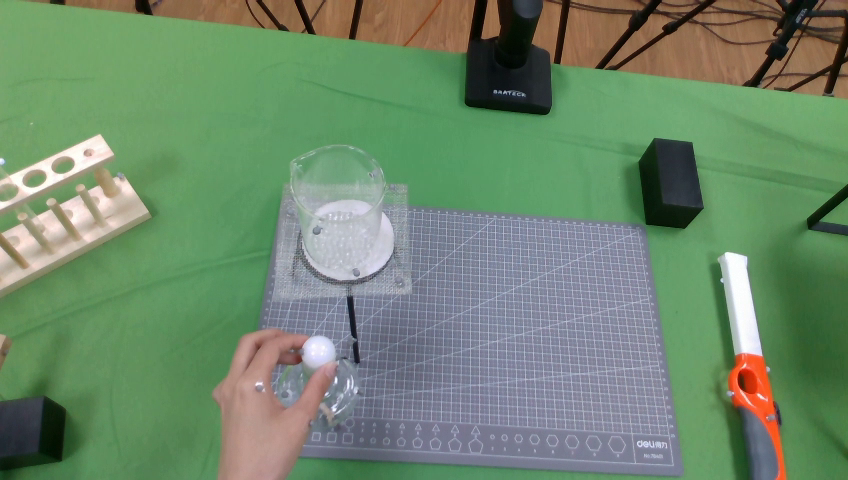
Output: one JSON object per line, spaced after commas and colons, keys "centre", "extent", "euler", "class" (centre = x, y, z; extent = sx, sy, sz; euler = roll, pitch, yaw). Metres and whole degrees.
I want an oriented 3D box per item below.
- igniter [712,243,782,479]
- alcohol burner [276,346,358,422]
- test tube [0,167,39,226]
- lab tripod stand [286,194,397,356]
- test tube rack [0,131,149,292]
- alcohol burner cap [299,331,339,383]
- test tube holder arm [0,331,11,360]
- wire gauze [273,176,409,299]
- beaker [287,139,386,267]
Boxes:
{"centre": [0.356, 0.129, 0.673], "extent": [0.057, 0.025, 0.274], "euler": [12, 61, -12], "class": "igniter"}
{"centre": [-0.101, 0.129, 0.572], "extent": [0.078, 0.120, 0.077], "euler": [4, 60, -6], "class": "alcohol burner"}
{"centre": [-0.420, -0.058, 0.601], "extent": [0.017, 0.151, 0.017], "euler": [3, 57, -5], "class": "test tube"}
{"centre": [-0.079, 0.029, 0.617], "extent": [0.148, 0.132, 0.147], "euler": [3, 62, -6], "class": "lab tripod stand"}
{"centre": [-0.428, -0.012, 0.631], "extent": [0.242, 0.086, 0.066], "euler": [-34, 70, -21], "class": "test tube rack"}
{"centre": [-0.090, 0.097, 0.511], "extent": [0.034, 0.048, 0.033], "euler": [2, 52, -2], "class": "alcohol burner cap"}
{"centre": [-0.397, 0.125, 0.545], "extent": [0.010, 0.015, 0.087], "euler": [7, 60, -2], "class": "test tube holder arm"}
{"centre": [-0.077, -0.006, 0.562], "extent": [0.121, 0.011, 0.124], "euler": [-1, 66, -5], "class": "wire gauze"}
{"centre": [-0.076, -0.028, 0.517], "extent": [0.084, 0.101, 0.073], "euler": [27, 63, 8], "class": "beaker"}
